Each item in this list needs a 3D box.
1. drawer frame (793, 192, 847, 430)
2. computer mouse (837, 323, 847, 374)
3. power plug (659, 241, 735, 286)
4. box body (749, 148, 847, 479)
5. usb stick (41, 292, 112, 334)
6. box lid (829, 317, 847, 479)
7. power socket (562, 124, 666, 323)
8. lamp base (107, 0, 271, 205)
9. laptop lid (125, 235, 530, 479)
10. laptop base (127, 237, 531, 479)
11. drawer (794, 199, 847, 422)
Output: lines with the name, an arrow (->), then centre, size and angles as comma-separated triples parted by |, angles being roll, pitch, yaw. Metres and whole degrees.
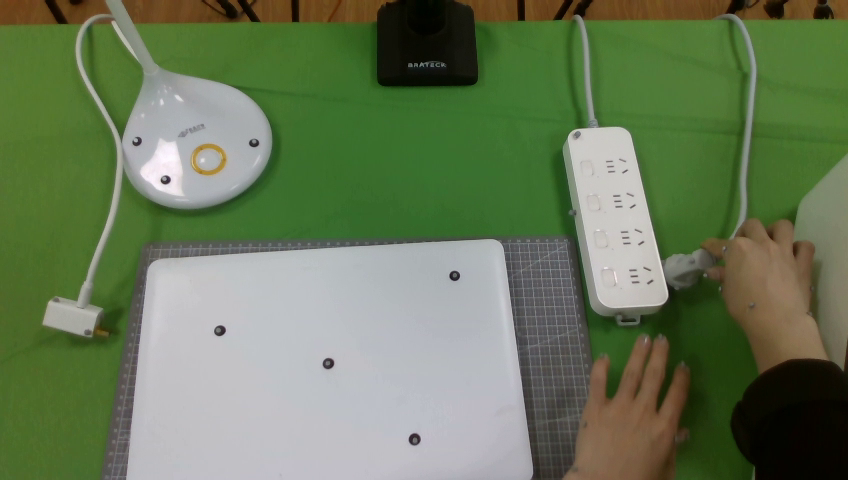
drawer frame -> 0.460, 0.086, 0.553 | 0.201, 0.083, 0.212 | 19, 62, 6
computer mouse -> 0.446, 0.113, 0.554 | 0.116, 0.041, 0.062 | 24, 76, 13
power plug -> 0.271, 0.027, 0.606 | 0.073, 0.053, 0.035 | -2, 67, -12
box body -> 0.452, 0.098, 0.513 | 0.253, 0.161, 0.362 | 20, 67, 8
usb stick -> -0.328, 0.072, 0.579 | 0.059, 0.021, 0.027 | 23, 94, -16
box lid -> 0.453, 0.065, 0.446 | 0.263, 0.015, 0.369 | 20, 68, 8
power socket -> 0.195, -0.026, 0.636 | 0.072, 0.033, 0.225 | -2, 65, -3
lamp base -> -0.258, -0.151, 0.602 | 0.160, 0.181, 0.178 | -38, 69, -17
laptop lid -> -0.089, 0.112, 0.562 | 0.357, 0.013, 0.240 | -2, 68, -2
laptop base -> -0.089, 0.115, 0.574 | 0.355, 0.023, 0.234 | -4, 69, -3
drawer -> 0.464, 0.081, 0.551 | 0.194, 0.074, 0.210 | 19, 70, 7
